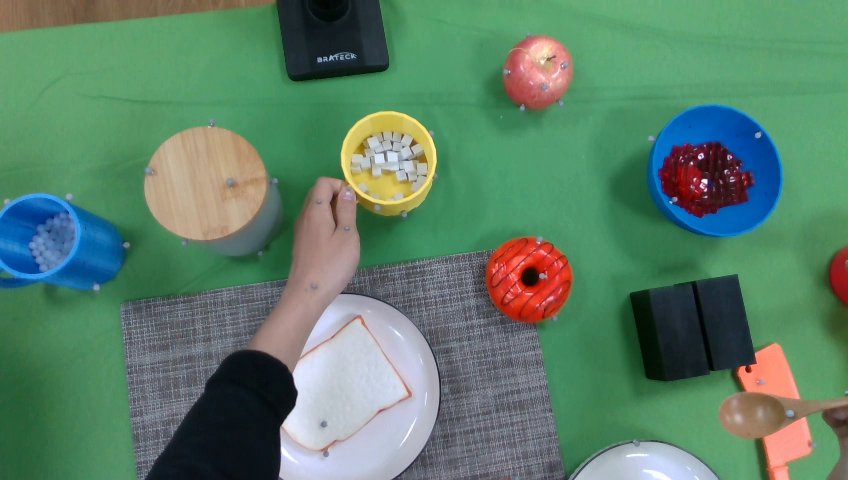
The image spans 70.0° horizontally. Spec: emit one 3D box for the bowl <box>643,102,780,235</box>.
[{"bbox_3d":[0.315,-0.074,0.700,0.151,0.077,0.151,1,82,-5],"label":"bowl"}]

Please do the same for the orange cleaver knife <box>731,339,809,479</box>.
[{"bbox_3d":[0.406,0.222,0.695,0.077,0.012,0.210,-7,81,-13],"label":"orange cleaver knife"}]

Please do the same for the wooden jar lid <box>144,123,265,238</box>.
[{"bbox_3d":[-0.202,-0.054,0.563,0.108,0.021,0.108,1,80,-4],"label":"wooden jar lid"}]

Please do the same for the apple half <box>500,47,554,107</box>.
[{"bbox_3d":[0.110,-0.178,0.697,0.033,0.081,0.081,-42,86,-14],"label":"apple half"}]

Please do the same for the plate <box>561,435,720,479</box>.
[{"bbox_3d":[0.232,0.316,0.655,0.209,0.038,0.208,1,82,-4],"label":"plate"}]

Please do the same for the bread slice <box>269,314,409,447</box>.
[{"bbox_3d":[-0.096,0.158,0.647,0.131,0.019,0.104,-35,86,-10],"label":"bread slice"}]

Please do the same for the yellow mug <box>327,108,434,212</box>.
[{"bbox_3d":[-0.053,-0.074,0.652,0.131,0.064,0.100,-40,87,-6],"label":"yellow mug"}]

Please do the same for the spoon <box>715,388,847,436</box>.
[{"bbox_3d":[0.345,0.133,0.501,0.193,0.022,0.041,-17,60,27],"label":"spoon"}]

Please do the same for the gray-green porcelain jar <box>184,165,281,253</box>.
[{"bbox_3d":[-0.207,-0.043,0.624,0.106,0.127,0.105,1,81,-5],"label":"gray-green porcelain jar"}]

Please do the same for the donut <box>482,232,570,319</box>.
[{"bbox_3d":[0.114,0.039,0.678,0.099,0.048,0.098,1,82,-5],"label":"donut"}]

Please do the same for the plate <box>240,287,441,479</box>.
[{"bbox_3d":[-0.087,0.155,0.647,0.208,0.039,0.207,1,82,-5],"label":"plate"}]

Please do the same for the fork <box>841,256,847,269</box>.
[{"bbox_3d":[0.489,0.029,0.666,0.209,0.018,0.028,6,78,-46],"label":"fork"}]

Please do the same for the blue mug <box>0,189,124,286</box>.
[{"bbox_3d":[-0.380,0.010,0.610,0.116,0.106,0.082,-34,85,-9],"label":"blue mug"}]

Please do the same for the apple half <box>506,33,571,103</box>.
[{"bbox_3d":[0.138,-0.204,0.706,0.053,0.075,0.080,-41,83,-15],"label":"apple half"}]
